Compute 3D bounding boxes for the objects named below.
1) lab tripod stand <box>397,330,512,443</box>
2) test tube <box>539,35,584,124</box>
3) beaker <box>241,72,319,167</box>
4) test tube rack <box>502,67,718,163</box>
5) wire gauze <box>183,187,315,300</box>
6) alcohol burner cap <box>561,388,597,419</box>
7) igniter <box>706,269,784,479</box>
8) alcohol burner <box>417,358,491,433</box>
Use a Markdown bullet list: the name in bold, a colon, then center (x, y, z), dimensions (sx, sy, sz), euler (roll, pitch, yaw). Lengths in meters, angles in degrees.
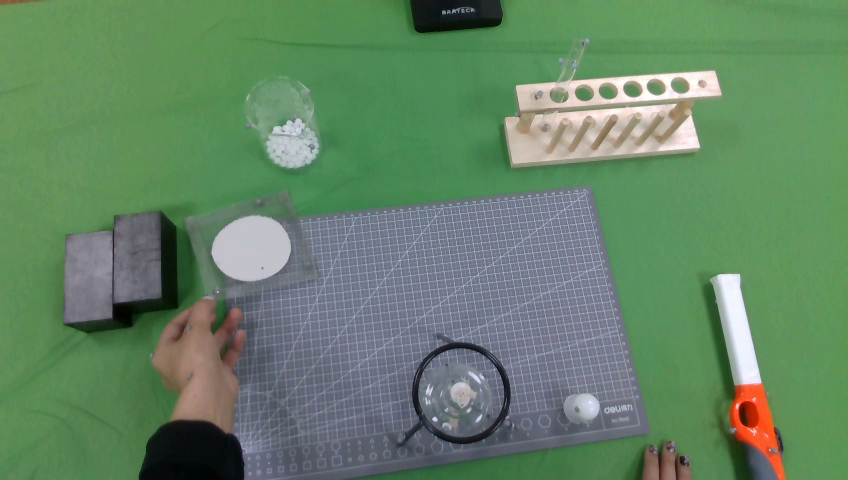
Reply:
- **lab tripod stand**: center (0.028, 0.151, 0.607), dimensions (0.148, 0.132, 0.147), euler (0, 71, -1)
- **test tube**: center (0.155, -0.179, 0.695), dimensions (0.017, 0.151, 0.017), euler (1, 68, -2)
- **beaker**: center (-0.161, -0.134, 0.707), dimensions (0.074, 0.101, 0.083), euler (-37, 78, -13)
- **test tube rack**: center (0.226, -0.152, 0.743), dimensions (0.243, 0.085, 0.066), euler (-5, 73, -5)
- **wire gauze**: center (-0.203, 0.002, 0.700), dimensions (0.125, 0.011, 0.120), euler (-16, 66, -17)
- **alcohol burner cap**: center (0.170, 0.176, 0.656), dimensions (0.034, 0.048, 0.033), euler (1, 71, -1)
- **igniter**: center (0.361, 0.167, 0.681), dimensions (0.057, 0.025, 0.274), euler (0, 72, -13)
- **alcohol burner**: center (0.032, 0.157, 0.616), dimensions (0.078, 0.119, 0.077), euler (1, 70, -3)
